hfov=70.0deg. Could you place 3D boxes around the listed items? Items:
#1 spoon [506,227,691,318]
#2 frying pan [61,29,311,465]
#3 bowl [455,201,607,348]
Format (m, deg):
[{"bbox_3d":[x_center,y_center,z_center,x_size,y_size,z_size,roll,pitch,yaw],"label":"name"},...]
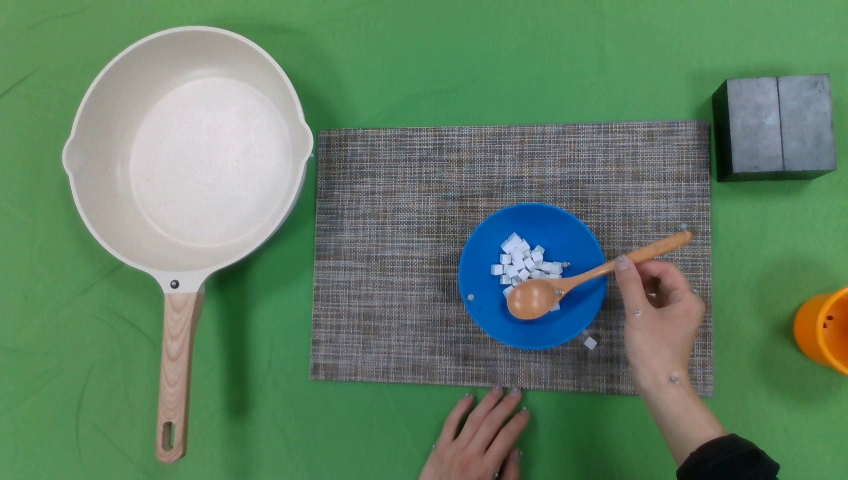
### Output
[{"bbox_3d":[0.168,0.032,0.600,0.193,0.022,0.041,-27,73,30],"label":"spoon"},{"bbox_3d":[-0.273,0.002,0.699,0.306,0.103,0.485,-2,76,9],"label":"frying pan"},{"bbox_3d":[0.113,0.038,0.649,0.151,0.077,0.151,-1,85,8],"label":"bowl"}]
